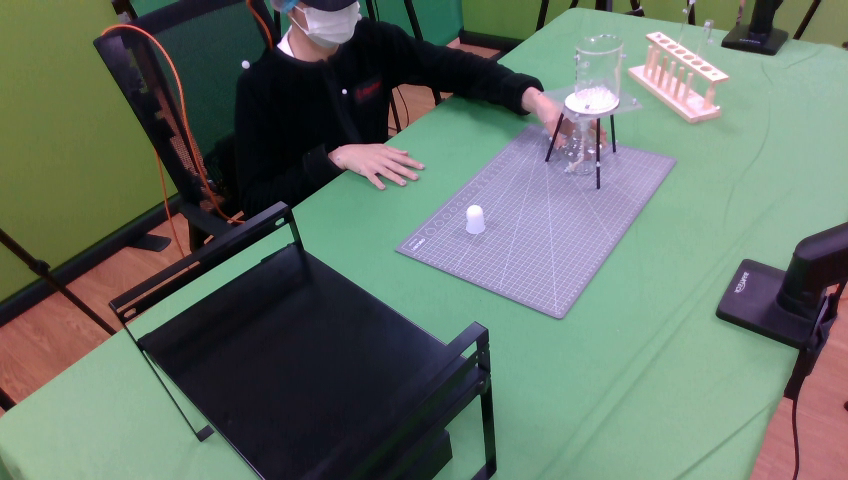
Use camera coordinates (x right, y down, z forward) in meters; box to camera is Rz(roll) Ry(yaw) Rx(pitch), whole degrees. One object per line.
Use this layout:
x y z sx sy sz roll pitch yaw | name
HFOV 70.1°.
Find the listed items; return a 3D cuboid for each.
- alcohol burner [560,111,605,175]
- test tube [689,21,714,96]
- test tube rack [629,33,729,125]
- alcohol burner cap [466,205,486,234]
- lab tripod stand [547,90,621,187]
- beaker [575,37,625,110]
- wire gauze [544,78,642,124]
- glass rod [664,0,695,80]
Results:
0.281 -0.176 1.070 0.078 0.119 0.077 -4 42 4 | alcohol burner
0.541 -0.353 1.184 0.017 0.151 0.017 -2 40 2 | test tube
0.516 -0.337 1.247 0.067 0.085 0.240 -14 41 -7 | test tube rack
0.085 -0.037 0.993 0.034 0.048 0.033 -4 40 4 | alcohol burner cap
0.289 -0.184 1.062 0.148 0.132 0.147 -6 41 6 | lab tripod stand
0.283 -0.271 0.988 0.074 0.101 0.083 -10 39 1 | beaker
0.282 -0.234 1.022 0.125 0.011 0.120 -17 38 -4 | wire gauze
0.523 -0.415 1.235 0.008 0.200 0.008 1 47 0 | glass rod
